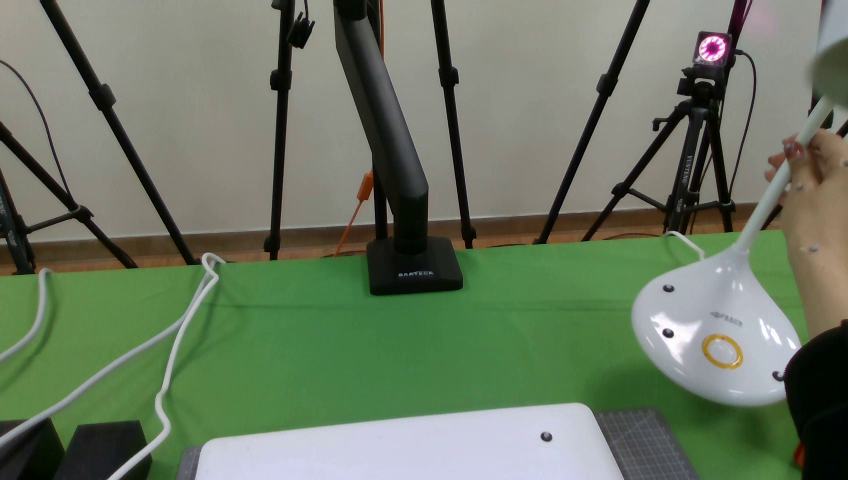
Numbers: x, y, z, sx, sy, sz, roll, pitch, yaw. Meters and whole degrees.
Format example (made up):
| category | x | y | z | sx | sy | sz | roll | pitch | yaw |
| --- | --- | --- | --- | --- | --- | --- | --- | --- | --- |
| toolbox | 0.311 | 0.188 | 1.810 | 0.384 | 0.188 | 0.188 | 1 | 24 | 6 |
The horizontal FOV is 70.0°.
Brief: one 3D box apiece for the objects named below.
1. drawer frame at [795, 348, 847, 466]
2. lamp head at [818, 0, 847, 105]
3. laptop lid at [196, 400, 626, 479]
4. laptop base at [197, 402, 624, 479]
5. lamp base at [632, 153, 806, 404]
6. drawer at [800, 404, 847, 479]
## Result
| category | x | y | z | sx | sy | sz | roll | pitch | yaw |
| --- | --- | --- | --- | --- | --- | --- | --- | --- | --- |
| drawer frame | 0.472 | 0.164 | 0.534 | 0.200 | 0.083 | 0.214 | 25 | 38 | 35 |
| lamp head | 0.269 | -0.128 | 0.295 | 0.112 | 0.122 | 0.113 | 19 | -10 | 4 |
| laptop lid | -0.003 | 0.225 | 0.458 | 0.357 | 0.013 | 0.239 | -3 | 33 | -6 |
| laptop base | -0.003 | 0.233 | 0.466 | 0.355 | 0.023 | 0.233 | -3 | 35 | -7 |
| lamp base | 0.289 | 0.023 | 0.540 | 0.160 | 0.181 | 0.178 | 13 | 39 | 7 |
| drawer | 0.472 | 0.166 | 0.531 | 0.192 | 0.074 | 0.212 | 25 | 38 | 36 |
